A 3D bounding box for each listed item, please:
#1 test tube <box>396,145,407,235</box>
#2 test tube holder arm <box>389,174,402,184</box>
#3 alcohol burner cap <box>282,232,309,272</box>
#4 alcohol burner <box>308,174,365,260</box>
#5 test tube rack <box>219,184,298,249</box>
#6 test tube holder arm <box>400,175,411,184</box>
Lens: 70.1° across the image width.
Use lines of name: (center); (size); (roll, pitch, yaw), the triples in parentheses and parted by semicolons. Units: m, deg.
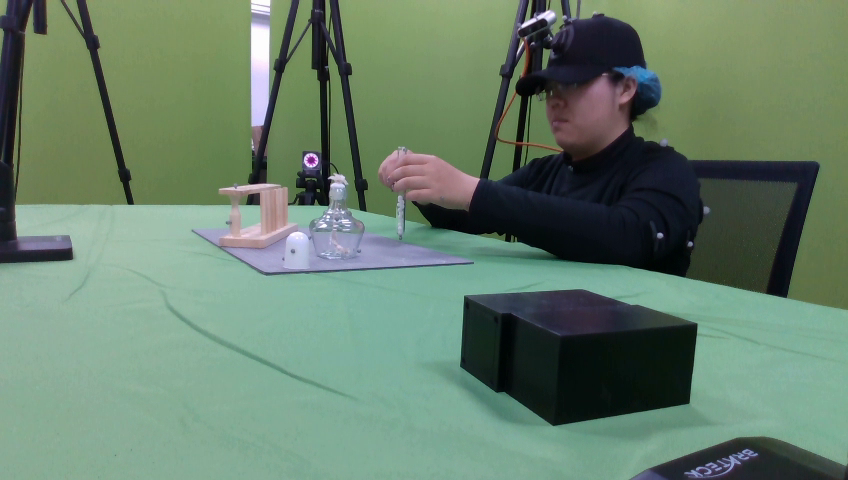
test tube: (-0.037, -0.083, 1.008); (0.017, 0.150, 0.017); (2, 7, 0)
test tube holder arm: (-0.051, -0.110, 1.072); (0.013, 0.015, 0.178); (6, 7, -9)
alcohol burner cap: (-0.157, 0.014, 0.740); (0.034, 0.048, 0.034); (3, 6, 0)
alcohol burner: (-0.121, -0.033, 0.841); (0.078, 0.119, 0.078); (3, 5, 0)
test tube rack: (-0.266, -0.046, 1.002); (0.067, 0.085, 0.242); (3, 7, 0)
test tube holder arm: (-0.037, -0.103, 1.029); (0.010, 0.015, 0.087); (5, 7, -16)
